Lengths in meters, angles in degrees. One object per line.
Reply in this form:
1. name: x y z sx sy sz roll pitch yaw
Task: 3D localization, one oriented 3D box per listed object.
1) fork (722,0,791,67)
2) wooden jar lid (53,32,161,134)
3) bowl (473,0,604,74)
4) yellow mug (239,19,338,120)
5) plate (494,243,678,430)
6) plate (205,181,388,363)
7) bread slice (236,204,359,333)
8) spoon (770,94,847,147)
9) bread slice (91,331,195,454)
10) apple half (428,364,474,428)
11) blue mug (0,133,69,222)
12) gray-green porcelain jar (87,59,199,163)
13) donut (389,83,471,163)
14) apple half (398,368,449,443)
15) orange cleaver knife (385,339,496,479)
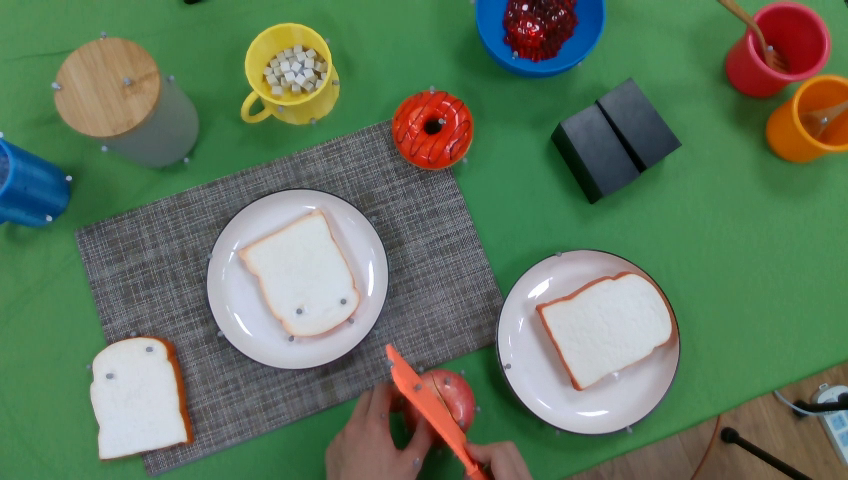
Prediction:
1. fork: 0.374 -0.246 0.693 0.209 0.018 0.028 18 78 -39
2. wooden jar lid: -0.322 -0.159 0.622 0.108 0.021 0.108 0 80 1
3. bowl: 0.131 -0.262 0.729 0.151 0.077 0.151 0 83 0
4. yellow mug: -0.168 -0.191 0.722 0.131 0.064 0.100 -44 85 -5
5. plate: 0.183 0.109 0.698 0.209 0.038 0.208 0 82 0
6. plate: -0.144 0.036 0.701 0.208 0.039 0.207 0 82 0
7. bread slice: -0.137 0.038 0.701 0.107 0.018 0.134 -32 83 -4
8. spoon: 0.491 -0.167 0.684 0.022 0.194 0.041 -18 77 -49
9. bread slice: -0.327 0.171 0.690 0.105 0.019 0.131 -13 83 -3
10. apple half: 0.036 0.165 0.670 0.033 0.081 0.081 -30 83 0
11. blue mug: -0.481 -0.059 0.679 0.082 0.106 0.116 43 84 6
12. gray-green porcelain jar: -0.322 -0.149 0.684 0.106 0.127 0.105 0 81 0
13. donut: 0.008 -0.139 0.724 0.099 0.048 0.099 0 83 -1
14. apple half: -0.001 0.186 0.668 0.053 0.075 0.080 -25 87 -2
15. orange cleaver knife: 0.027 0.184 0.594 0.012 0.077 0.212 -36 102 4
